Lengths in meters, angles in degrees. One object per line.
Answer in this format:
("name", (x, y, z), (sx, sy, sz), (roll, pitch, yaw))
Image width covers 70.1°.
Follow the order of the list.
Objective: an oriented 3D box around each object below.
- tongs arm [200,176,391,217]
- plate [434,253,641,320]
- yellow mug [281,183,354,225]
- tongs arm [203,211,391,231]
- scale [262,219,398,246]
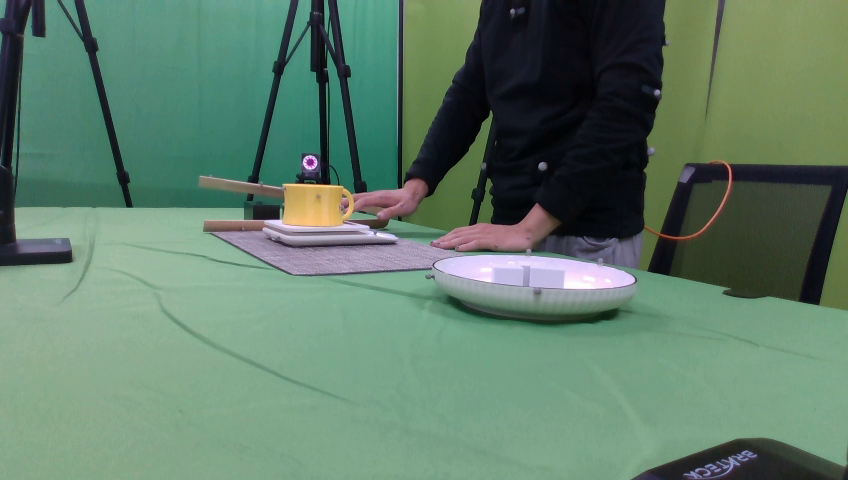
("tongs arm", (-0.258, -0.084, 1.245), (0.387, 0.026, 0.050), (6, 32, -22))
("plate", (0.114, 0.047, 0.626), (0.208, 0.039, 0.207), (2, 7, 0))
("yellow mug", (-0.172, -0.061, 1.009), (0.131, 0.064, 0.099), (-2, 8, -41))
("tongs arm", (-0.231, -0.036, 1.185), (0.390, 0.028, 0.028), (-3, 33, -33))
("scale", (-0.160, -0.016, 1.028), (0.202, 0.031, 0.148), (-1, 8, -32))
